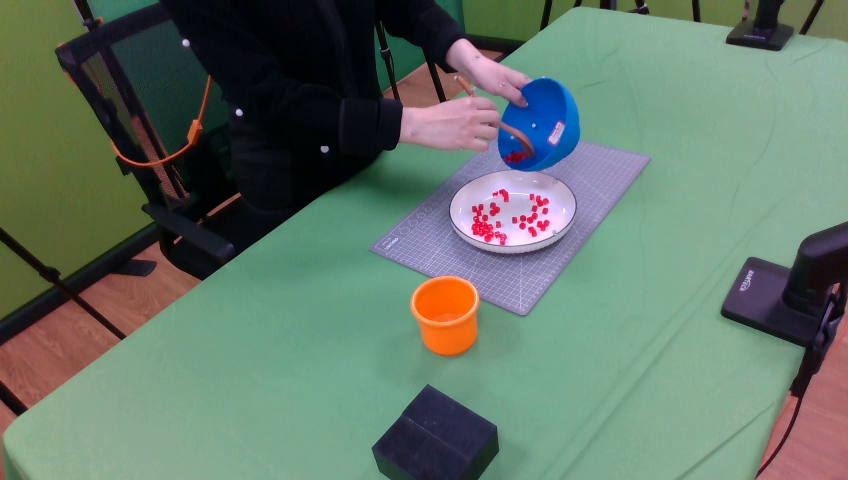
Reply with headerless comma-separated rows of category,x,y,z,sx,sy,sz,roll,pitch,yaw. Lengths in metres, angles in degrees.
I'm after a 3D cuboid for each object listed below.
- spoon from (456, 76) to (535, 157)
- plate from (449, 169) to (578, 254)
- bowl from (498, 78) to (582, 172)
spoon,0.114,-0.189,0.939,0.021,0.195,0.041,-50,34,12
plate,0.146,-0.044,0.993,0.209,0.038,0.208,-5,40,5
bowl,0.199,-0.175,0.971,0.077,0.151,0.150,13,27,-35
